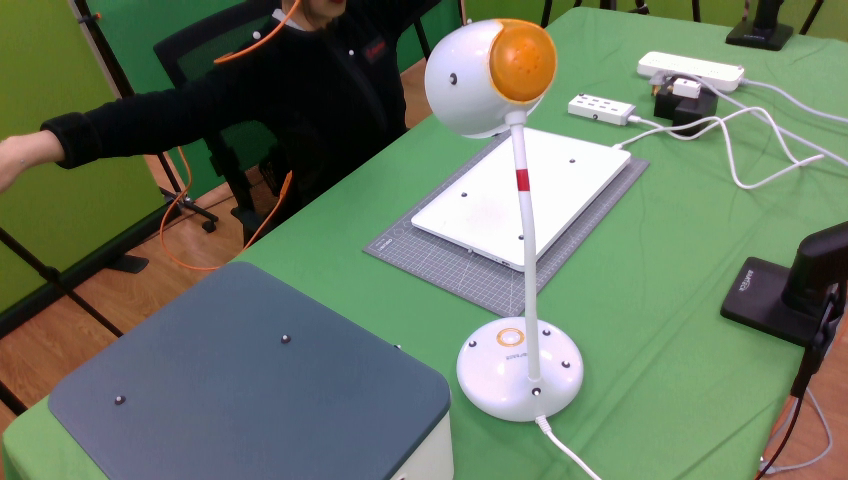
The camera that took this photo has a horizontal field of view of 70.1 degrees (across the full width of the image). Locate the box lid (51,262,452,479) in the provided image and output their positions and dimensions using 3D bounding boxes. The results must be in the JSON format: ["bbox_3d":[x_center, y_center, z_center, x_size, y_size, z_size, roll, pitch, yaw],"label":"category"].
[{"bbox_3d":[-0.182,0.156,0.610,0.368,0.015,0.264,23,49,34],"label":"box lid"}]

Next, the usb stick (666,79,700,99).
[{"bbox_3d":[0.492,-0.288,1.152,0.058,0.027,0.021,20,50,34],"label":"usb stick"}]

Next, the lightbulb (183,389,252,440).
[{"bbox_3d":[-0.262,0.217,0.753,0.107,0.060,0.059,-10,35,33],"label":"lightbulb"}]

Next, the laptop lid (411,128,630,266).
[{"bbox_3d":[0.172,-0.093,1.049,0.239,0.013,0.358,23,49,36],"label":"laptop lid"}]

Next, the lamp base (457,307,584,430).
[{"bbox_3d":[0.115,0.108,0.713,0.161,0.181,0.178,-16,43,-8],"label":"lamp base"}]

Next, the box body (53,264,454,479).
[{"bbox_3d":[-0.173,0.212,0.659,0.361,0.161,0.255,23,50,33],"label":"box body"}]

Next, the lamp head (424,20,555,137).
[{"bbox_3d":[0.069,-0.153,0.572,0.113,0.112,0.122,-22,16,-14],"label":"lamp head"}]

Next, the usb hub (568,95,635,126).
[{"bbox_3d":[0.360,-0.264,1.228,0.124,0.025,0.049,24,49,34],"label":"usb hub"}]

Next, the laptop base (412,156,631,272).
[{"bbox_3d":[0.176,-0.084,1.055,0.233,0.023,0.355,21,48,36],"label":"laptop base"}]

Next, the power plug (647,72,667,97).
[{"bbox_3d":[0.493,-0.321,1.261,0.073,0.052,0.035,1,20,-41],"label":"power plug"}]

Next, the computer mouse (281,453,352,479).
[{"bbox_3d":[-0.110,0.278,0.656,0.116,0.041,0.063,20,51,36],"label":"computer mouse"}]

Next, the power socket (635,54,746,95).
[{"bbox_3d":[0.564,-0.357,1.293,0.225,0.033,0.072,24,51,33],"label":"power socket"}]
